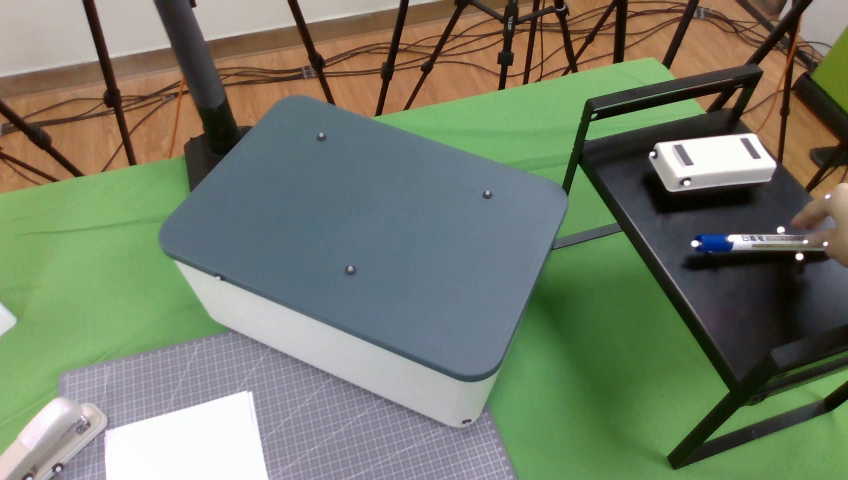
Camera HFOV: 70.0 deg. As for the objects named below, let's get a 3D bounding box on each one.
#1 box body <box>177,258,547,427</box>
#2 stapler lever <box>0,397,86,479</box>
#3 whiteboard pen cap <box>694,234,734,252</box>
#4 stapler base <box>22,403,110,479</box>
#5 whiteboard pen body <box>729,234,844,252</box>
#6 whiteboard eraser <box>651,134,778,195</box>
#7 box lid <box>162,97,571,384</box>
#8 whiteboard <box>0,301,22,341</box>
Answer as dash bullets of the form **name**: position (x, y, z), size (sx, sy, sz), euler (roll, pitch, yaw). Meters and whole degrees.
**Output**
- **box body**: position (-0.054, 0.021, 0.692), size (0.362, 0.162, 0.253), euler (20, 55, 14)
- **stapler lever**: position (-0.391, 0.207, 0.600), size (0.026, 0.040, 0.118), euler (30, 61, 25)
- **whiteboard pen cap**: position (0.274, 0.003, 0.569), size (0.033, 0.018, 0.018), euler (1, 52, -7)
- **stapler base**: position (-0.389, 0.221, 0.621), size (0.041, 0.024, 0.130), euler (30, 61, 25)
- **whiteboard pen body**: position (0.332, 0.003, 0.576), size (0.141, 0.017, 0.017), euler (0, 52, -7)
- **whiteboard eraser**: position (0.298, -0.077, 0.625), size (0.113, 0.042, 0.055), euler (-6, 55, -6)
- **box lid**: position (-0.054, -0.025, 0.634), size (0.370, 0.015, 0.262), euler (21, 55, 13)
- **whiteboard**: position (-0.636, 0.037, 0.618), size (0.142, 0.309, 0.217), euler (20, 53, 37)
